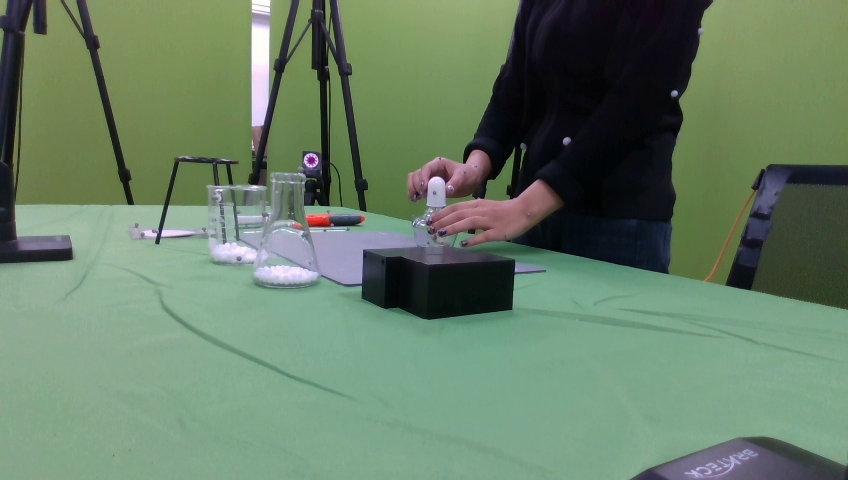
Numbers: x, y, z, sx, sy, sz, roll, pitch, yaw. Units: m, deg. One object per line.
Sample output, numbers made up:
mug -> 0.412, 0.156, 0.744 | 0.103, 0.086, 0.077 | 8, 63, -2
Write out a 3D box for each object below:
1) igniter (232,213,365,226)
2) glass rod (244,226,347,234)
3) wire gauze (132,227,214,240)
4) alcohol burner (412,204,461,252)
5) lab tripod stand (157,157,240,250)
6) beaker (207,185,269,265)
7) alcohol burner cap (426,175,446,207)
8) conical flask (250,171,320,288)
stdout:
igniter -> -0.246, -0.042, 1.223 | 0.278, 0.025, 0.057 | -3, -1, -36
glass rod -> -0.239, -0.019, 1.145 | 0.201, 0.008, 0.008 | -4, 9, -29
wire gauze -> -0.425, -0.013, 1.018 | 0.122, 0.011, 0.124 | -1, 6, -28
alcohol burner -> 0.020, -0.042, 0.947 | 0.078, 0.119, 0.078 | 0, 7, 0
lab tripod stand -> -0.322, -0.057, 0.905 | 0.148, 0.131, 0.148 | 4, 7, 0
beaker -> -0.244, -0.021, 0.784 | 0.083, 0.100, 0.074 | 6, 8, 30
alcohol burner cap -> 0.019, -0.077, 0.942 | 0.034, 0.048, 0.034 | 2, 15, 0
conical flask -> -0.150, -0.013, 0.658 | 0.075, 0.122, 0.075 | 2, 7, 0
